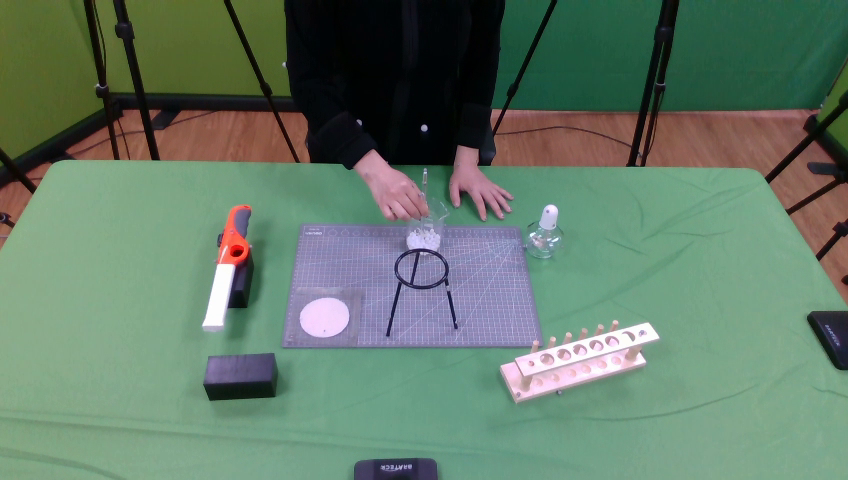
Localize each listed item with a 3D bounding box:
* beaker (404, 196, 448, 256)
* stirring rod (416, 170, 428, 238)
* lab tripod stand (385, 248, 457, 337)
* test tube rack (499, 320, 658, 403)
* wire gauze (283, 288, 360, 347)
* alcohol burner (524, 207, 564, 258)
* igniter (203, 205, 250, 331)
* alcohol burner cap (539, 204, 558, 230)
[{"bbox_3d":[0.001,-0.024,1.164,0.084,0.101,0.073,6,46,0],"label":"beaker"},{"bbox_3d":[-0.005,-0.062,1.110,0.014,0.177,0.006,-19,54,-19],"label":"stirring rod"},{"bbox_3d":[-0.010,0.087,1.032,0.148,0.132,0.147,1,45,-1],"label":"lab tripod stand"},{"bbox_3d":[0.252,0.187,0.994,0.243,0.085,0.066,-12,48,-15],"label":"test tube rack"},{"bbox_3d":[-0.178,0.132,1.063,0.125,0.011,0.120,2,46,1],"label":"wire gauze"},{"bbox_3d":[0.236,-0.020,1.174,0.078,0.120,0.077,1,48,-1],"label":"alcohol burner"},{"bbox_3d":[-0.345,0.039,1.065,0.057,0.025,0.274,2,49,-6],"label":"igniter"},{"bbox_3d":[0.238,-0.045,1.148,0.034,0.048,0.033,2,42,-1],"label":"alcohol burner cap"}]
